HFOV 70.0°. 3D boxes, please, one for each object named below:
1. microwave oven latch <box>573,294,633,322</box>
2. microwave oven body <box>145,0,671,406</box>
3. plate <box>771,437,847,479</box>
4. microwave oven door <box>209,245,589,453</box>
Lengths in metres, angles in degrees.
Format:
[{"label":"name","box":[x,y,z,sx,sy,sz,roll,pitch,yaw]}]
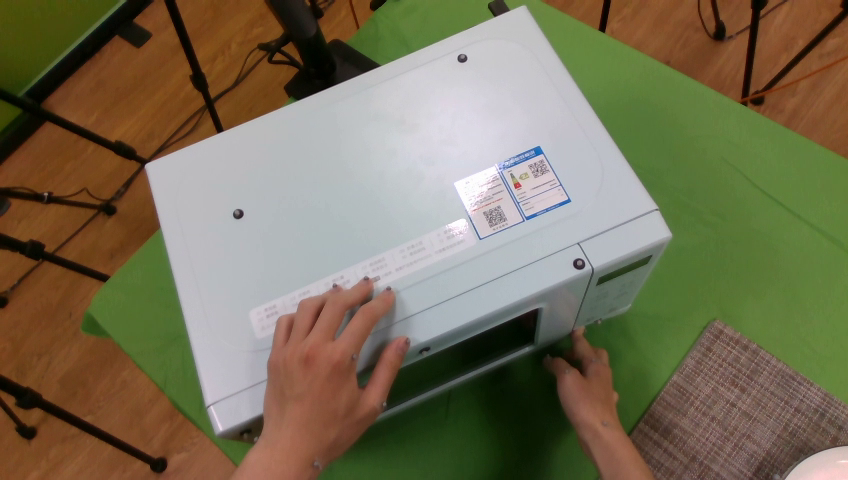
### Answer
[{"label":"microwave oven latch","box":[0.210,0.075,0.733,0.079,0.030,0.030,-18,67,1]},{"label":"microwave oven body","box":[-0.022,-0.011,0.695,0.442,0.262,0.323,-24,67,-2]},{"label":"plate","box":[0.451,0.311,0.619,0.207,0.039,0.206,-3,68,7]},{"label":"microwave oven door","box":[-0.006,0.125,0.632,0.356,0.246,0.039,-24,66,-2]}]
